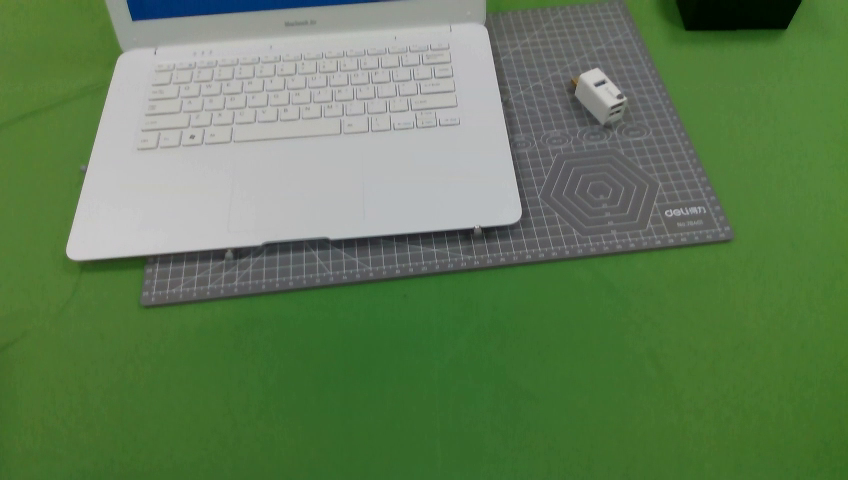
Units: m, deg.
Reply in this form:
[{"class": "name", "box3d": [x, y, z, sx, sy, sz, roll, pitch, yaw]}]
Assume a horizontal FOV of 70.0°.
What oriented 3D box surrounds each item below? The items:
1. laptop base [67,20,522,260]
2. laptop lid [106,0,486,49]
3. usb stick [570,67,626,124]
[{"class": "laptop base", "box3d": [-0.107, -0.095, 0.527, 0.354, 0.023, 0.233, -5, 61, -1]}, {"class": "laptop lid", "box3d": [-0.123, -0.292, 0.526, 0.357, 0.244, 0.013, -6, 32, 0]}, {"class": "usb stick", "box3d": [0.151, -0.132, 0.535, 0.021, 0.027, 0.058, -25, 57, -12]}]
